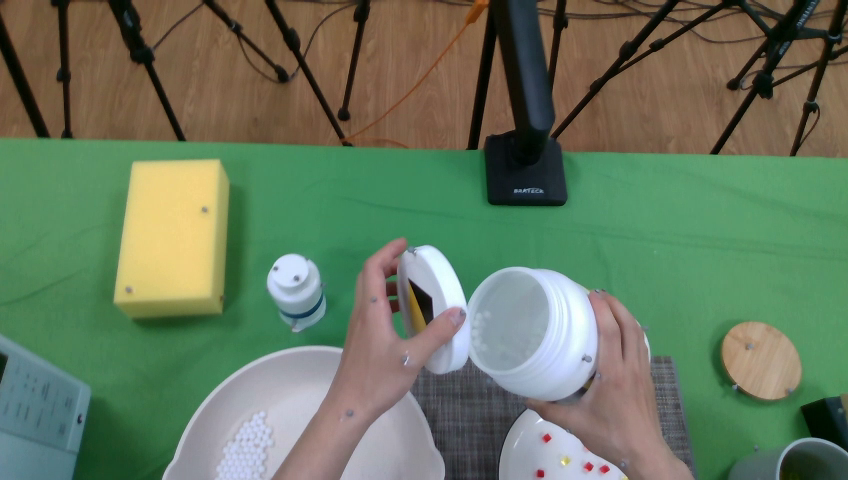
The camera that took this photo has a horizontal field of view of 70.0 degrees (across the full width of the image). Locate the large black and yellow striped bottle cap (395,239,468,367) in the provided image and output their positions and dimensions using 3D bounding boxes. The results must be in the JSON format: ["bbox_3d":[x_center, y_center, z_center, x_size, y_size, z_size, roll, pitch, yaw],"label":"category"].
[{"bbox_3d":[0.004,0.056,0.537,0.019,0.115,0.114,-13,65,-22],"label":"large black and yellow striped bottle cap"}]

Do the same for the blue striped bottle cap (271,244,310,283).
[{"bbox_3d":[-0.159,0.027,0.719,0.044,0.021,0.044,2,66,-4],"label":"blue striped bottle cap"}]

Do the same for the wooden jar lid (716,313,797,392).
[{"bbox_3d":[0.449,0.153,0.823,0.108,0.021,0.107,2,66,-3],"label":"wooden jar lid"}]

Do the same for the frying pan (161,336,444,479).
[{"bbox_3d":[-0.130,0.344,0.635,0.307,0.103,0.483,0,56,-2],"label":"frying pan"}]

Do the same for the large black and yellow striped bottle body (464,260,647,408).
[{"bbox_3d":[0.137,0.099,0.639,0.186,0.130,0.129,25,55,-41],"label":"large black and yellow striped bottle body"}]

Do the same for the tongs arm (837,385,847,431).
[{"bbox_3d":[0.549,0.360,0.693,0.051,0.026,0.382,-3,75,-7],"label":"tongs arm"}]

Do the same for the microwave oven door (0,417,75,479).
[{"bbox_3d":[-0.410,0.339,0.521,0.039,0.245,0.353,1,64,-4],"label":"microwave oven door"}]

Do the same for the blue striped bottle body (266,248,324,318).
[{"bbox_3d":[-0.162,0.051,0.765,0.063,0.121,0.062,2,64,-3],"label":"blue striped bottle body"}]

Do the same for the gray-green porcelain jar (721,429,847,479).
[{"bbox_3d":[0.417,0.282,0.700,0.106,0.127,0.105,2,64,-3],"label":"gray-green porcelain jar"}]

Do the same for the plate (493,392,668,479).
[{"bbox_3d":[0.185,0.277,0.729,0.209,0.038,0.207,2,65,-3],"label":"plate"}]

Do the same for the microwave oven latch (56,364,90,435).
[{"bbox_3d":[-0.413,0.186,0.706,0.030,0.030,0.078,2,65,-4],"label":"microwave oven latch"}]

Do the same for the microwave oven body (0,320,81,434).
[{"bbox_3d":[-0.556,0.298,0.534,0.326,0.262,0.438,2,65,-4],"label":"microwave oven body"}]

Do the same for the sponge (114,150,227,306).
[{"bbox_3d":[-0.335,-0.019,0.816,0.118,0.061,0.205,-3,66,-7],"label":"sponge"}]
